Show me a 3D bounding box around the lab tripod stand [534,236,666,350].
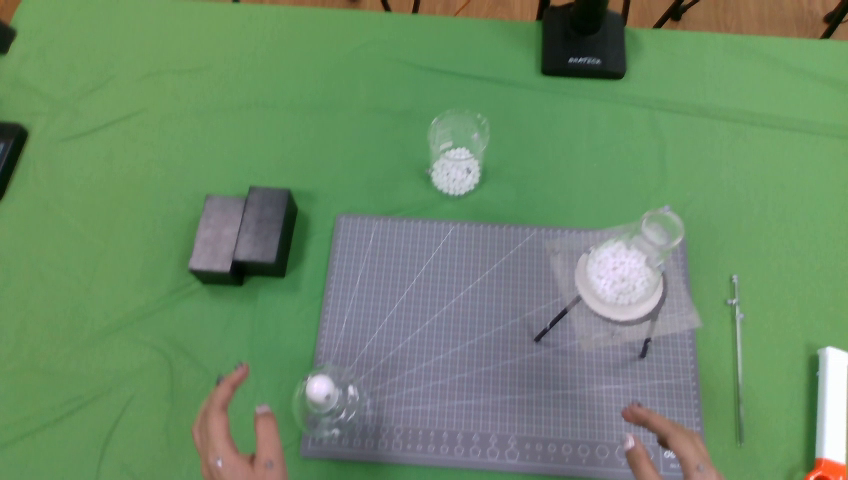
[{"bbox_3d":[0.199,0.065,0.674,0.148,0.132,0.147,0,69,1],"label":"lab tripod stand"}]

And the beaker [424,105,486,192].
[{"bbox_3d":[0.041,-0.114,0.772,0.084,0.101,0.073,-34,71,-14],"label":"beaker"}]

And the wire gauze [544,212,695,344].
[{"bbox_3d":[0.197,0.037,0.614,0.125,0.011,0.120,-11,70,-6],"label":"wire gauze"}]

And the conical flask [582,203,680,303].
[{"bbox_3d":[0.197,0.009,0.561,0.075,0.122,0.075,0,69,1],"label":"conical flask"}]

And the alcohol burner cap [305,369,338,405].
[{"bbox_3d":[-0.104,0.146,0.612,0.034,0.048,0.033,2,65,-4],"label":"alcohol burner cap"}]

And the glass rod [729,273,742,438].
[{"bbox_3d":[0.367,0.131,0.716,0.008,0.008,0.198,8,67,4],"label":"glass rod"}]

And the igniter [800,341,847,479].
[{"bbox_3d":[0.438,0.243,0.658,0.057,0.025,0.275,19,68,-3],"label":"igniter"}]

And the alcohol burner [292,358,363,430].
[{"bbox_3d":[-0.105,0.161,0.645,0.078,0.120,0.077,0,68,-1],"label":"alcohol burner"}]
